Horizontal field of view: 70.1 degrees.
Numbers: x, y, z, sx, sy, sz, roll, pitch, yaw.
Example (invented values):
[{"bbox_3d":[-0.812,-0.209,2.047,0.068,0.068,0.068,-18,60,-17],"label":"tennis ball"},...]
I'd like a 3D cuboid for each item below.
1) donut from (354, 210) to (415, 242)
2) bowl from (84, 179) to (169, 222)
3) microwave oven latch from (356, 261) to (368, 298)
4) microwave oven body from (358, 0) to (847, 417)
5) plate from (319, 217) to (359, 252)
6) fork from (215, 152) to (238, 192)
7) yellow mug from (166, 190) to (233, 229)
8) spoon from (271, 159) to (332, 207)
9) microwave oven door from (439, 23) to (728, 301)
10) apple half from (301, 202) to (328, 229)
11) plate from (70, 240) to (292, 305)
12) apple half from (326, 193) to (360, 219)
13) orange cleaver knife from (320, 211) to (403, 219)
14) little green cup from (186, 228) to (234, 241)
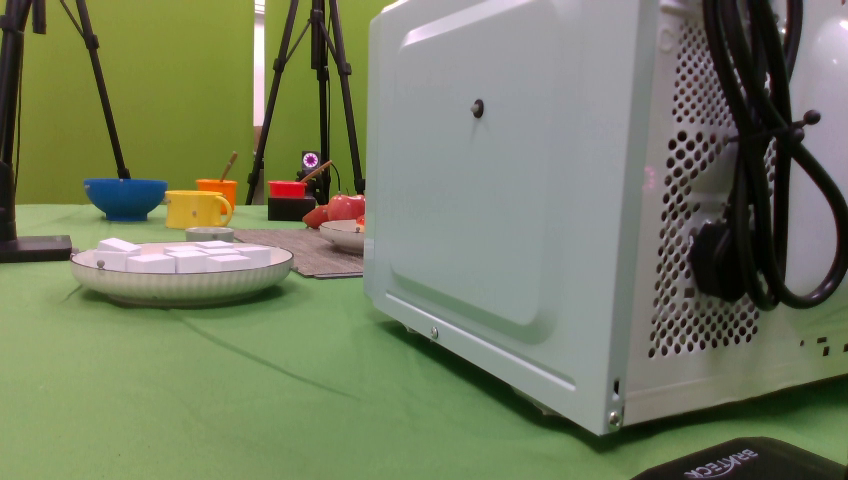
[{"bbox_3d":[-0.062,-0.020,0.955,0.099,0.048,0.099,5,8,0],"label":"donut"},{"bbox_3d":[-0.584,-0.078,1.193,0.151,0.077,0.151,3,8,0],"label":"bowl"},{"bbox_3d":[-0.019,0.033,0.530,0.079,0.029,0.030,0,7,-26],"label":"microwave oven latch"},{"bbox_3d":[0.211,-0.047,0.474,0.444,0.260,0.324,-1,8,-28],"label":"microwave oven body"},{"bbox_3d":[-0.059,-0.007,0.938,0.209,0.038,0.209,3,8,0],"label":"plate"},{"bbox_3d":[-0.455,-0.132,1.367,0.028,0.018,0.207,-2,-35,-38],"label":"fork"},{"bbox_3d":[-0.415,-0.057,1.131,0.130,0.064,0.100,6,8,16],"label":"yellow mug"},{"bbox_3d":[-0.307,-0.142,1.513,0.193,0.021,0.041,-41,3,8],"label":"spoon"},{"bbox_3d":[0.181,-0.073,0.620,0.358,0.243,0.039,-2,8,-29],"label":"microwave oven door"},{"bbox_3d":[-0.194,-0.043,1.172,0.081,0.032,0.081,-21,-16,-6],"label":"apple half"},{"bbox_3d":[-0.241,0.031,0.618,0.208,0.039,0.207,2,7,0],"label":"plate"},{"bbox_3d":[-0.135,-0.047,1.089,0.081,0.074,0.053,5,10,-12],"label":"apple half"},{"bbox_3d":[-0.142,-0.057,1.394,0.077,0.012,0.212,2,6,44],"label":"orange cleaver knife"},{"bbox_3d":[-0.284,0.005,0.805,0.061,0.038,0.061,2,8,0],"label":"little green cup"}]
